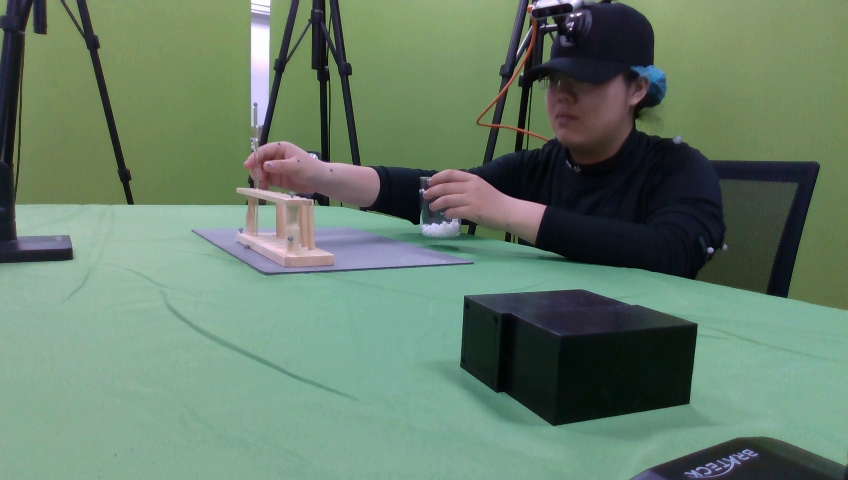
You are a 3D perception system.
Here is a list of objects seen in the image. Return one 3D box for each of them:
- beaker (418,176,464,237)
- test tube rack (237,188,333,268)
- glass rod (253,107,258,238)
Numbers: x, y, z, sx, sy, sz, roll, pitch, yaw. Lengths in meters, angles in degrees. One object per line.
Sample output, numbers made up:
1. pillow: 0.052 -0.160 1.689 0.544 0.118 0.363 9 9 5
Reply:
1. beaker: 0.031 -0.057 1.012 0.083 0.100 0.074 7 10 41
2. test tube rack: -0.203 -0.024 0.854 0.067 0.085 0.241 -2 8 -30
3. glass rod: -0.254 -0.100 0.911 0.008 0.199 0.008 1 3 0
